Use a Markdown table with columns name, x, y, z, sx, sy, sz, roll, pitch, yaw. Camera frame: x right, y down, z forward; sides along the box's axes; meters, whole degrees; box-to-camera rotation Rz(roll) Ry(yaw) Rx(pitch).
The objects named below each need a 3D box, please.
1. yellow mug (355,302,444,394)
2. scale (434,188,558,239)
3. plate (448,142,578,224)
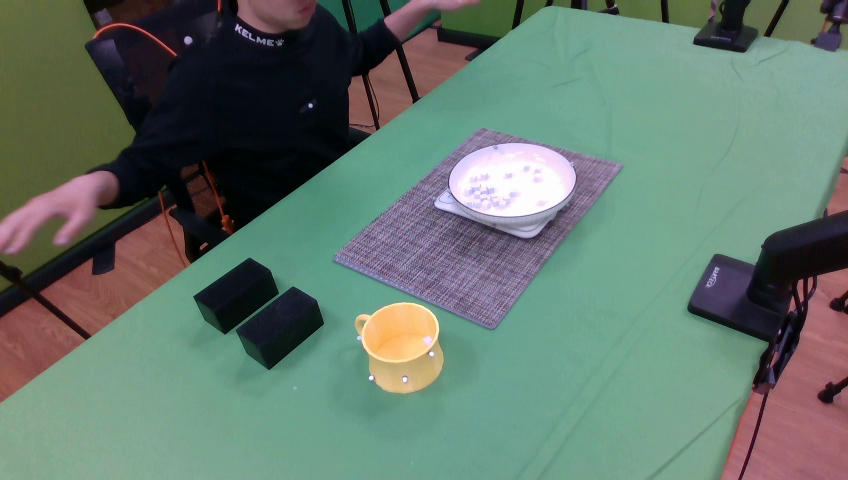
| name | x | y | z | sx | sy | sz | roll | pitch | yaw |
| --- | --- | --- | --- | --- | --- | --- | --- | --- | --- |
| yellow mug | -0.040 | 0.133 | 0.786 | 0.130 | 0.064 | 0.100 | 20 | 47 | 29 |
| scale | 0.132 | -0.075 | 1.025 | 0.199 | 0.032 | 0.149 | 22 | 48 | 30 |
| plate | 0.145 | -0.089 | 0.989 | 0.209 | 0.038 | 0.208 | -4 | 41 | 4 |
